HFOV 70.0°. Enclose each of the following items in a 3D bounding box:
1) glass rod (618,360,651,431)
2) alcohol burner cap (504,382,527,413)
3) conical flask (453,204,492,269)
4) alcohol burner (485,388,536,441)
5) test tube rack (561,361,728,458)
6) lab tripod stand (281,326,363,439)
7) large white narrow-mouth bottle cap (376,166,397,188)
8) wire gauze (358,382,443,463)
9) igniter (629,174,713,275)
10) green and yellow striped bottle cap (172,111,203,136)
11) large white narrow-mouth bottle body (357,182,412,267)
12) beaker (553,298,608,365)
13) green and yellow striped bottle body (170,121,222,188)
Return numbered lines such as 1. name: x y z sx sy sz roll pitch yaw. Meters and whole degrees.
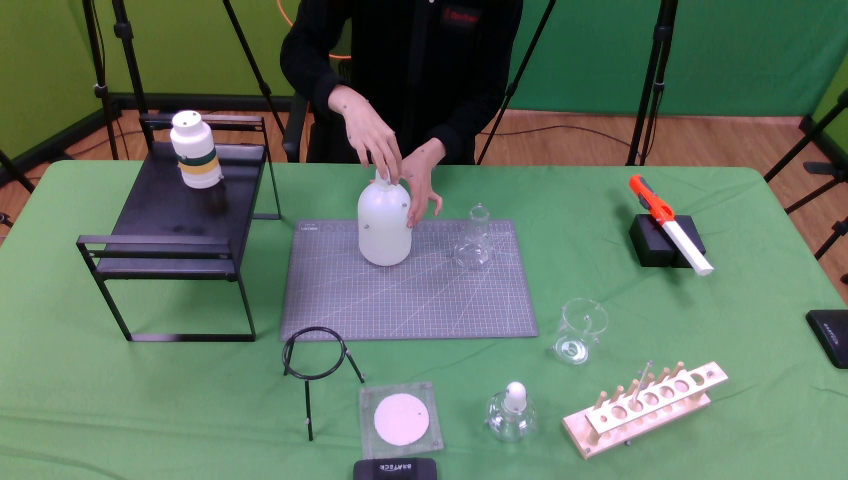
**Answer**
1. glass rod: 0.298 0.226 0.865 0.008 0.201 0.008 -1 48 2
2. alcohol burner cap: 0.133 0.225 0.877 0.034 0.048 0.033 -4 47 5
3. conical flask: 0.097 -0.009 1.140 0.075 0.122 0.075 2 46 -2
4. alcohol burner: 0.131 0.249 0.904 0.078 0.120 0.077 1 48 -1
5. test tube rack: 0.341 0.248 0.940 0.243 0.085 0.066 -15 49 -18
6. lab tripod stand: -0.166 0.202 0.913 0.148 0.132 0.147 1 47 -1
7. large white narrow-mouth bottle cap: -0.065 -0.109 1.048 0.038 0.024 0.037 4 46 -4
8. wire gauze: -0.039 0.276 0.937 0.121 0.011 0.124 -4 47 -7
9. igniter: 0.481 -0.040 1.202 0.057 0.025 0.274 -1 46 -21
10. green and yellow striped bottle cap: -0.374 -0.185 0.958 0.045 0.020 0.045 4 45 -3
11. large white narrow-mouth bottle body: -0.073 -0.046 1.115 0.102 0.195 0.101 3 46 -3
12. beaker: 0.260 0.154 1.015 0.073 0.101 0.084 37 54 27
13. green and yellow striped bottle body: -0.375 -0.149 0.995 0.063 0.120 0.063 2 46 -2
